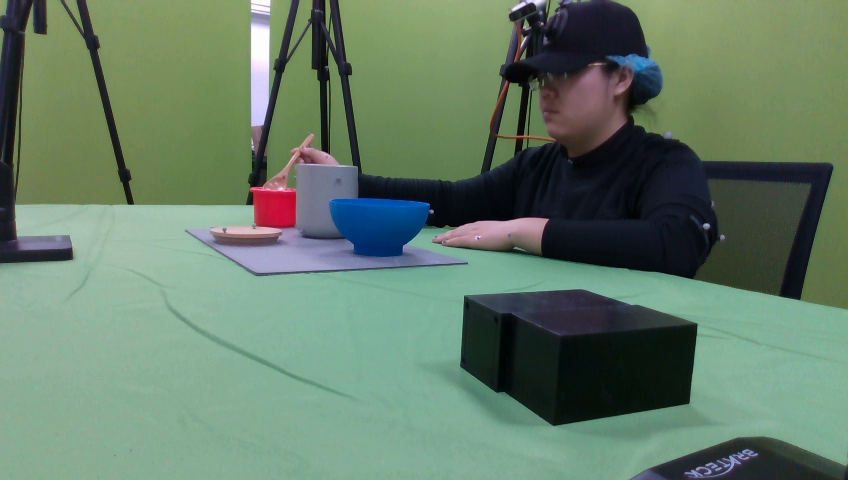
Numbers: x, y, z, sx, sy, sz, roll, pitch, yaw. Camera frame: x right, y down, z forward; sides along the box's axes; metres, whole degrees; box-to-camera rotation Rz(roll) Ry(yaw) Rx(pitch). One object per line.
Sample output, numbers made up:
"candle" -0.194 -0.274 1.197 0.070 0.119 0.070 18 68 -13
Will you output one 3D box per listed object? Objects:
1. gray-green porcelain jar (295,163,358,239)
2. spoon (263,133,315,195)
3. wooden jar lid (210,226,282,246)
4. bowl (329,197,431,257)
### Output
"gray-green porcelain jar" -0.170 -0.069 1.054 0.106 0.126 0.106 3 7 0
"spoon" -0.269 -0.159 1.238 0.041 0.194 0.021 22 -34 7
"wooden jar lid" -0.279 -0.007 0.951 0.108 0.020 0.108 2 8 0
"bowl" -0.067 -0.019 0.894 0.151 0.077 0.151 3 7 0
